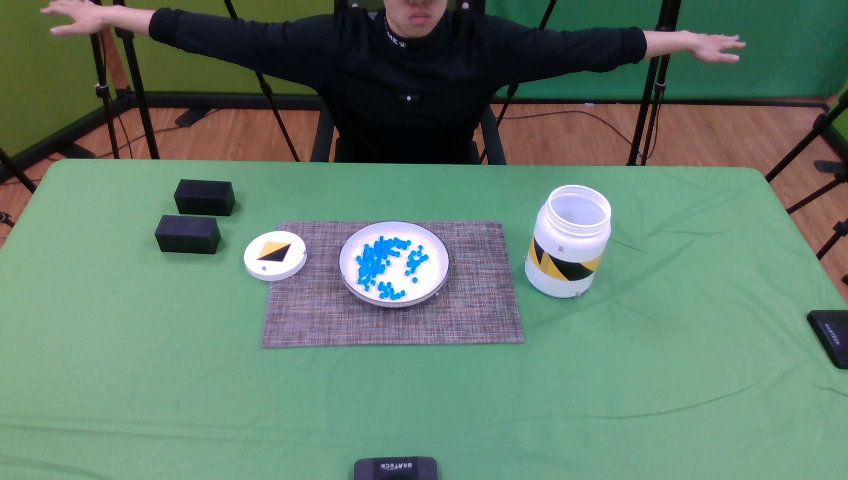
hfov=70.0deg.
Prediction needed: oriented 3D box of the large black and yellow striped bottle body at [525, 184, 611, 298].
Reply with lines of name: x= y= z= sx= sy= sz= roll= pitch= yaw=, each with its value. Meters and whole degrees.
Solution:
large black and yellow striped bottle body: x=0.262 y=0.002 z=1.101 sx=0.131 sy=0.185 sz=0.130 roll=2 pitch=46 yaw=-2

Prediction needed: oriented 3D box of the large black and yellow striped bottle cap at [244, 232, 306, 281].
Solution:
large black and yellow striped bottle cap: x=-0.282 y=0.030 z=1.146 sx=0.115 sy=0.019 sz=0.114 roll=-1 pitch=45 yaw=1

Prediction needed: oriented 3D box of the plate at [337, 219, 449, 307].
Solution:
plate: x=-0.057 y=0.045 z=1.132 sx=0.208 sy=0.039 sz=0.206 roll=2 pitch=46 yaw=-2
